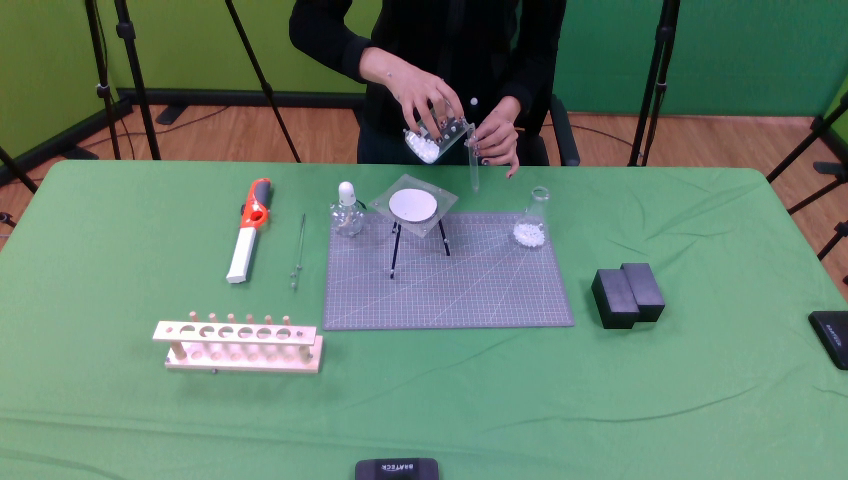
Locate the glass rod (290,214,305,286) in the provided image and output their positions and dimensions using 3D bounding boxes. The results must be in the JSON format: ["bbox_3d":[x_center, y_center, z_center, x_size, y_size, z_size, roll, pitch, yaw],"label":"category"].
[{"bbox_3d":[-0.245,0.015,1.176,0.008,0.008,0.198,1,43,-3],"label":"glass rod"}]

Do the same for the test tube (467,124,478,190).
[{"bbox_3d":[0.090,-0.150,1.121,0.017,0.151,0.017,-4,47,5],"label":"test tube"}]

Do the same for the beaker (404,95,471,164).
[{"bbox_3d":[0.022,-0.187,1.043,0.100,0.084,0.073,-42,52,13],"label":"beaker"}]

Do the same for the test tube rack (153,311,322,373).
[{"bbox_3d":[-0.293,0.160,0.978,0.242,0.085,0.066,3,46,-2],"label":"test tube rack"}]

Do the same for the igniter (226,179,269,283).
[{"bbox_3d":[-0.345,-0.027,1.195,0.057,0.025,0.274,-6,46,5],"label":"igniter"}]

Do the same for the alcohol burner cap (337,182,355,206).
[{"bbox_3d":[-0.151,-0.090,1.157,0.034,0.048,0.033,0,52,0],"label":"alcohol burner cap"}]

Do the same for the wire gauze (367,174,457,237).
[{"bbox_3d":[-0.021,-0.067,1.088,0.124,0.011,0.121,28,49,21],"label":"wire gauze"}]

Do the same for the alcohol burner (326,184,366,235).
[{"bbox_3d":[-0.152,-0.066,1.184,0.078,0.119,0.077,4,46,-4],"label":"alcohol burner"}]

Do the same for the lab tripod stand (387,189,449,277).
[{"bbox_3d":[-0.021,-0.018,1.135,0.148,0.132,0.147,3,44,-3],"label":"lab tripod stand"}]

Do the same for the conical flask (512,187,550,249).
[{"bbox_3d":[0.217,-0.048,1.190,0.075,0.122,0.075,2,46,-2],"label":"conical flask"}]
